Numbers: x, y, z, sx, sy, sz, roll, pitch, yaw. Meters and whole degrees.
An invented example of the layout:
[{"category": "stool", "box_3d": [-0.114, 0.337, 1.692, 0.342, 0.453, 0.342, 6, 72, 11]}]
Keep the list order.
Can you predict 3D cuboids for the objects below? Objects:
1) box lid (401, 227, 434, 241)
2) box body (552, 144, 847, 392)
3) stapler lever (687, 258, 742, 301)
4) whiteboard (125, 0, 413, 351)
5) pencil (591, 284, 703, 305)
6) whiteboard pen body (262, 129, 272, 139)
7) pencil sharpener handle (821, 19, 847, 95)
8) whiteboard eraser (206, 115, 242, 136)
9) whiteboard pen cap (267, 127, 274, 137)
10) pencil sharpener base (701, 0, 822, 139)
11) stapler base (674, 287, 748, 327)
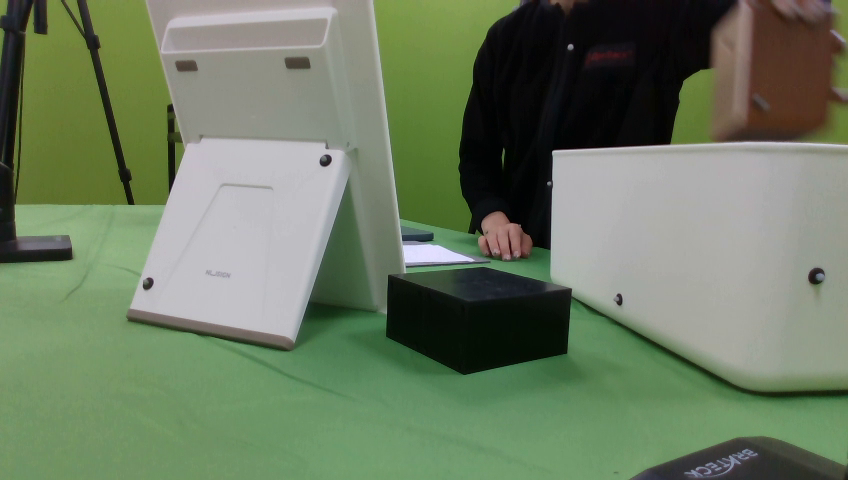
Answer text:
[{"category": "box lid", "box_3d": [-0.196, -0.015, 1.105, 0.373, 0.015, 0.262, -1, 7, -32]}, {"category": "box body", "box_3d": [0.290, 0.002, 0.549, 0.255, 0.160, 0.363, 2, 7, -10]}, {"category": "stapler lever", "box_3d": [0.283, 0.035, 0.585, 0.026, 0.040, 0.119, 11, 8, 37]}, {"category": "whiteboard", "box_3d": [-0.151, -0.050, 0.471, 0.216, 0.305, 0.144, 6, 27, 24]}, {"category": "pencil", "box_3d": [0.248, 0.057, 0.656, 0.195, 0.012, 0.012, -2, 9, -35]}, {"category": "whiteboard pen body", "box_3d": [-0.361, -0.245, 1.393, 0.017, 0.017, 0.140, 0, 5, -20]}, {"category": "pencil sharpener handle", "box_3d": [0.330, -0.151, 0.494, 0.030, 0.067, 0.036, 5, -7, 5]}, {"category": "whiteboard eraser", "box_3d": [-0.438, -0.249, 1.320, 0.056, 0.042, 0.112, -3, 9, -30]}, {"category": "whiteboard pen cap", "box_3d": [-0.340, -0.239, 1.337, 0.018, 0.018, 0.033, 1, -1, -14]}, {"category": "pencil sharpener base", "box_3d": [0.278, -0.143, 0.496, 0.077, 0.107, 0.061, 5, -7, 5]}, {"category": "stapler base", "box_3d": [0.281, 0.061, 0.586, 0.041, 0.024, 0.131, 11, 9, 37]}]
